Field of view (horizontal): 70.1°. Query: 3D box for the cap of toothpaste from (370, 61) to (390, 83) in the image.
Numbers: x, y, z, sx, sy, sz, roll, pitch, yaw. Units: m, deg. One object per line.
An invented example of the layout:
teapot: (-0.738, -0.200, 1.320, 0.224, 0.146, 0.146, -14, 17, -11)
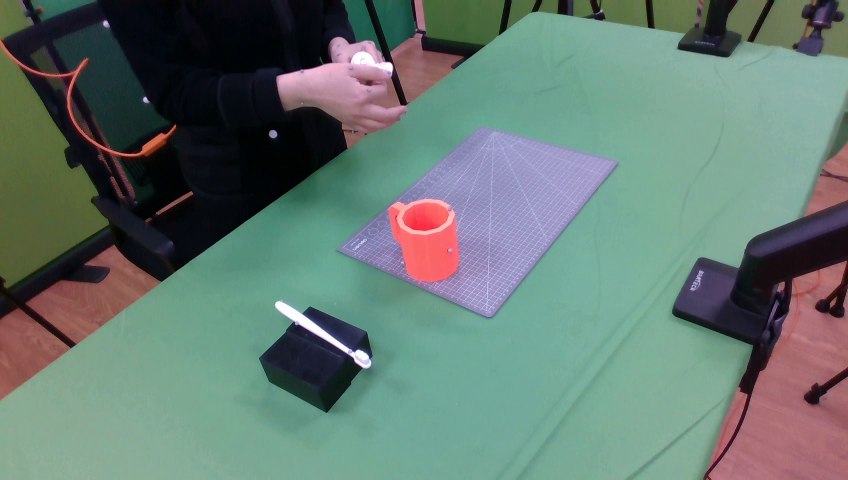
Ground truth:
cap of toothpaste: (-0.065, -0.249, 0.889, 0.037, 0.011, 0.037, -18, 59, 33)

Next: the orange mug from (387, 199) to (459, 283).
orange mug: (-0.006, -0.007, 0.923, 0.125, 0.101, 0.084, 32, 54, 32)

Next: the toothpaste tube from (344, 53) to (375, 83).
toothpaste tube: (-0.099, -0.268, 0.968, 0.055, 0.034, 0.164, 6, 4, -10)

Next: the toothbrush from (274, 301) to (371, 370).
toothbrush: (-0.135, 0.119, 0.783, 0.180, 0.017, 0.014, 25, 53, 33)
